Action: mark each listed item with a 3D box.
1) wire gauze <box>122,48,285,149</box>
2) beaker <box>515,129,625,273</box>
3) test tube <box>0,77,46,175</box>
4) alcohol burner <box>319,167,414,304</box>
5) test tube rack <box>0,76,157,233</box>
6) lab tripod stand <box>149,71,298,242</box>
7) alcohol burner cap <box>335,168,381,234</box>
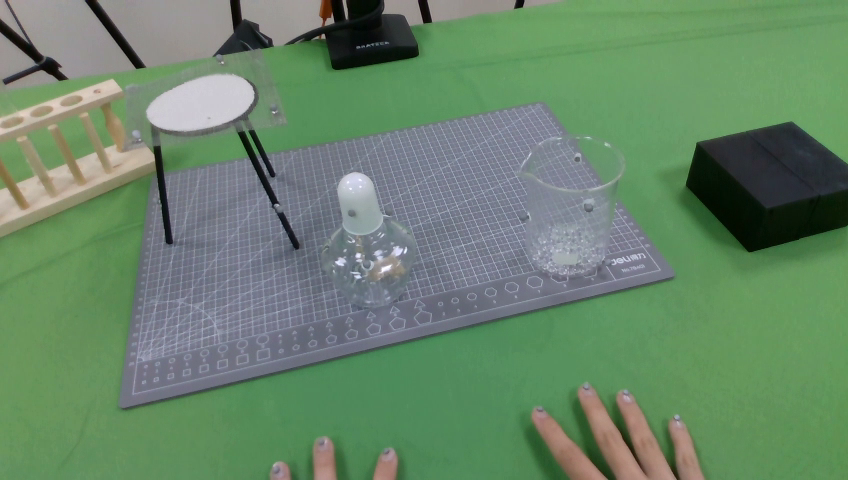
[{"bbox_3d":[-0.186,-0.118,0.499,0.125,0.011,0.120,-17,45,-11],"label":"wire gauze"},{"bbox_3d":[0.116,-0.028,0.499,0.084,0.101,0.073,-4,44,3],"label":"beaker"},{"bbox_3d":[-0.410,-0.128,0.596,0.017,0.151,0.017,-1,39,2],"label":"test tube"},{"bbox_3d":[-0.048,-0.006,0.482,0.078,0.120,0.077,-3,42,3],"label":"alcohol burner"},{"bbox_3d":[-0.409,-0.074,0.611,0.242,0.086,0.066,-30,49,-24],"label":"test tube rack"},{"bbox_3d":[-0.181,-0.070,0.546,0.148,0.133,0.147,-3,46,3],"label":"lab tripod stand"},{"bbox_3d":[-0.052,-0.032,0.457,0.034,0.048,0.033,-3,46,4],"label":"alcohol burner cap"}]
